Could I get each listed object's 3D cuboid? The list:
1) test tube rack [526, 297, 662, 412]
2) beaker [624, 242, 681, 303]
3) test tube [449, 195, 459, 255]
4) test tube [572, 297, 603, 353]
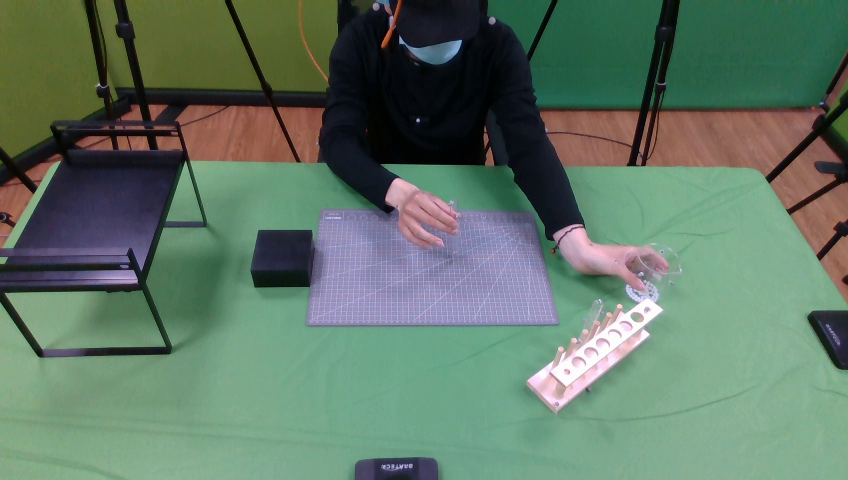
[{"bbox_3d":[0.284,0.176,1.007,0.242,0.085,0.066,-29,54,-27],"label":"test tube rack"},{"bbox_3d":[0.417,0.065,1.113,0.083,0.101,0.074,32,53,23],"label":"beaker"},{"bbox_3d":[0.056,-0.024,1.110,0.017,0.151,0.017,-2,49,3],"label":"test tube"},{"bbox_3d":[0.263,0.141,0.977,0.017,0.151,0.017,2,47,-2],"label":"test tube"}]
